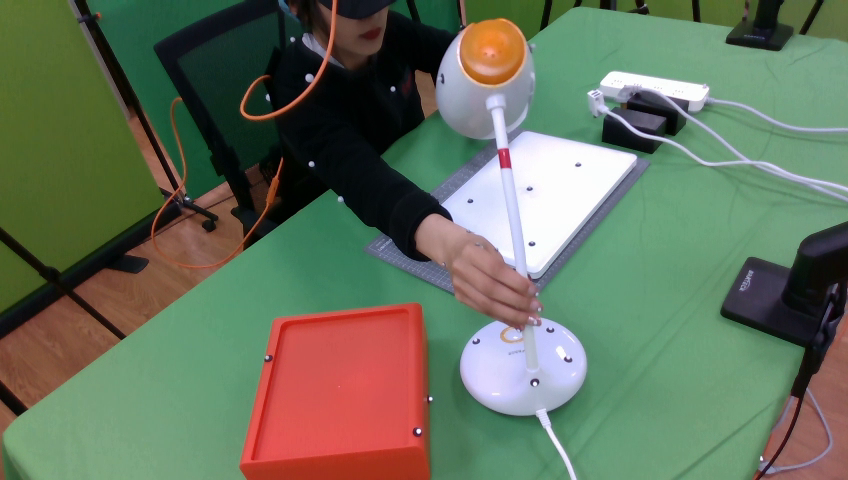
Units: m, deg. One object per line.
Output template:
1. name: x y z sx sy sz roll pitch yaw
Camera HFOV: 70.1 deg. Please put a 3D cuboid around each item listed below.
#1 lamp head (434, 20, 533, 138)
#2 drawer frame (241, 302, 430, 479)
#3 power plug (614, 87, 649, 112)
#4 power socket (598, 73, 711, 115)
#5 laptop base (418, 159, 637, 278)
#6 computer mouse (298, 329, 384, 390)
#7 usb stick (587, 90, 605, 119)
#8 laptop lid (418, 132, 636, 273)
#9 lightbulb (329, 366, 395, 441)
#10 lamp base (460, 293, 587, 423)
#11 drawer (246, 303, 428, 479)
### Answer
1. lamp head: 0.066 -0.172 0.637 0.112 0.112 0.123 -9 -2 0
2. drawer frame: -0.095 0.184 0.739 0.202 0.083 0.212 -7 40 3
3. power plug: 0.406 -0.275 1.192 0.035 0.053 0.072 -15 24 -16
4. power socket: 0.469 -0.304 1.249 0.225 0.033 0.072 20 49 30
5. laptop base: 0.185 -0.074 1.042 0.233 0.023 0.355 19 47 35
6. computer mouse: -0.111 0.156 0.798 0.117 0.041 0.062 -15 41 1
7. usb stick: 0.334 -0.258 1.171 0.021 0.059 0.027 -28 44 -4
8. laptop lid: 0.181 -0.084 1.036 0.239 0.013 0.358 22 49 35
9. lightbulb: -0.080 0.195 0.738 0.060 0.060 0.107 -32 61 -25
10. lamp base: 0.114 0.099 0.714 0.161 0.181 0.178 -16 38 -6
11. drawer: -0.097 0.184 0.743 0.194 0.073 0.210 -6 41 3
